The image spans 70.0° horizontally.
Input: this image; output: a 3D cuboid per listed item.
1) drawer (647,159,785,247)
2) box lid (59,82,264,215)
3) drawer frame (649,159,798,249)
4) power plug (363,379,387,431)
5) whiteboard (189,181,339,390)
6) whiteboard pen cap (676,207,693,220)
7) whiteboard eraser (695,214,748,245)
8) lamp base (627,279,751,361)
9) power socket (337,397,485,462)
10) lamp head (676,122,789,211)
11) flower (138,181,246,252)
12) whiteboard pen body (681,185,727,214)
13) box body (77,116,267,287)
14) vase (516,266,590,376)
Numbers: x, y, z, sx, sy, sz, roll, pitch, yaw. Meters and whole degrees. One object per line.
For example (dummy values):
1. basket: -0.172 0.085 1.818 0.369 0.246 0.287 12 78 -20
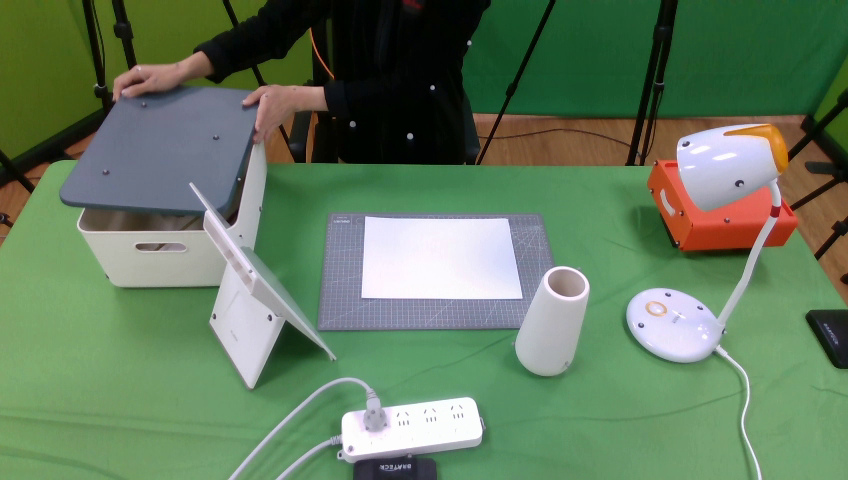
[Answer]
1. drawer: 0.582 -0.079 1.214 0.212 0.073 0.193 -1 46 -5
2. box lid: -0.444 -0.173 1.071 0.263 0.015 0.369 3 44 -5
3. drawer frame: 0.588 -0.077 1.219 0.214 0.083 0.200 -2 45 -5
4. power plug: -0.072 0.252 0.910 0.035 0.053 0.072 3 45 -1
5. whiteboard: -0.292 0.096 0.929 0.144 0.307 0.216 -37 57 -10
6. whiteboard pen cap: 0.524 -0.053 1.216 0.033 0.018 0.018 -28 54 -23
7. whiteboard eraser: 0.592 -0.019 1.209 0.113 0.042 0.055 11 27 -36
8. lamp base: 0.459 0.100 1.027 0.178 0.181 0.160 27 51 17
9. power socket: -0.018 0.285 0.915 0.227 0.033 0.071 -5 46 -8
10. lamp head: 0.423 -0.104 0.819 0.122 0.113 0.112 -13 33 40
11. flower: -0.442 -0.044 1.193 0.044 0.038 0.361 45 48 -6
12. whiteboard pen body: 0.571 -0.081 1.238 0.141 0.017 0.017 -27 54 -23
13. box body: -0.446 -0.088 1.150 0.254 0.161 0.361 -1 46 -5
14. vase: 0.208 0.132 0.964 0.098 0.201 0.097 3 46 -3
